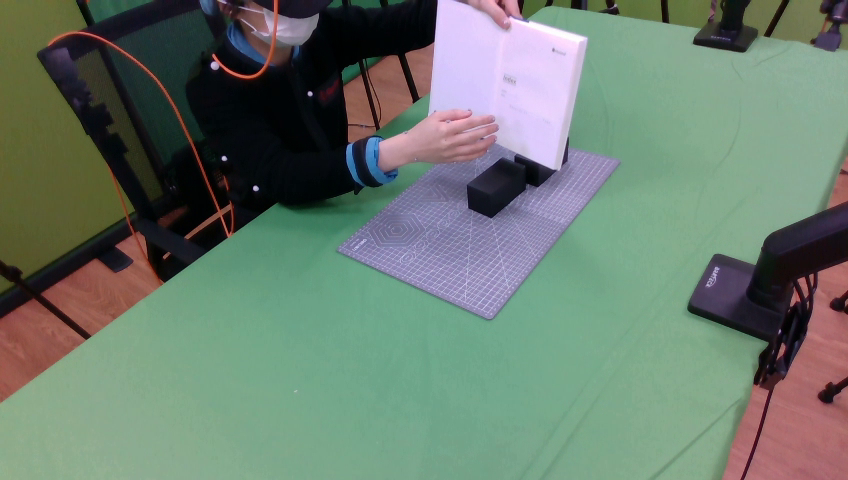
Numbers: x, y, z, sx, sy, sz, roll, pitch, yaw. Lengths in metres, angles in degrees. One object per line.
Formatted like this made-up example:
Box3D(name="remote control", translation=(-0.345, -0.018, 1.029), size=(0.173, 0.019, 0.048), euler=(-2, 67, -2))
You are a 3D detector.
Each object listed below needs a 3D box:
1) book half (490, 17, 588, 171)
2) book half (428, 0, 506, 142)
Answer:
Box3D(name="book half", translation=(0.174, -0.228, 0.957), size=(0.016, 0.211, 0.147), euler=(-26, 44, -37))
Box3D(name="book half", translation=(0.068, -0.286, 1.032), size=(0.142, 0.210, 0.007), euler=(29, 39, 33))
